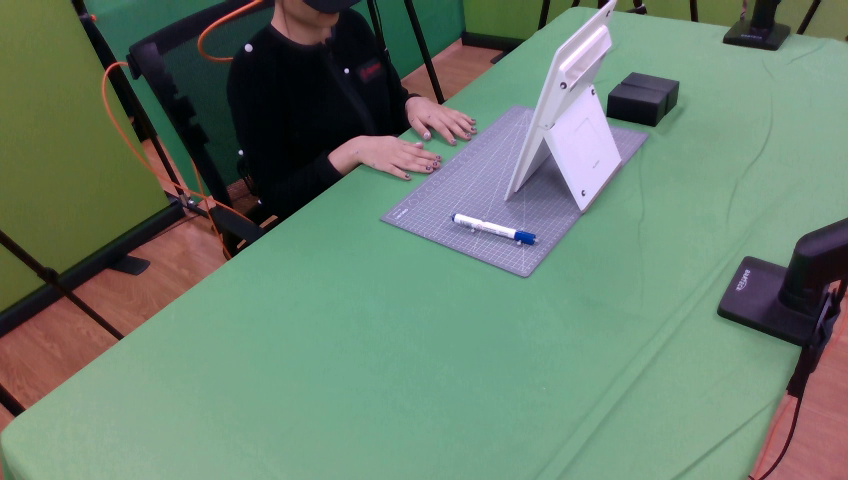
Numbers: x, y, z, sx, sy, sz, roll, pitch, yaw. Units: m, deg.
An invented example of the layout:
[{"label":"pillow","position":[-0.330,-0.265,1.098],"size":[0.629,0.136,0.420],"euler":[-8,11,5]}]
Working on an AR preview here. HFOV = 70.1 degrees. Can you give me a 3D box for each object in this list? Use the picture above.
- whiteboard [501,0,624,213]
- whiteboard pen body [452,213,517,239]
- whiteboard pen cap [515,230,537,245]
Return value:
[{"label":"whiteboard","position":[0.271,-0.189,0.977],"size":[0.143,0.306,0.218],"euler":[34,53,16]},{"label":"whiteboard pen body","position":[0.109,-0.020,0.979],"size":[0.140,0.017,0.017],"euler":[17,47,25]},{"label":"whiteboard pen cap","position":[0.160,-0.005,0.956],"size":[0.033,0.018,0.018],"euler":[17,47,26]}]
